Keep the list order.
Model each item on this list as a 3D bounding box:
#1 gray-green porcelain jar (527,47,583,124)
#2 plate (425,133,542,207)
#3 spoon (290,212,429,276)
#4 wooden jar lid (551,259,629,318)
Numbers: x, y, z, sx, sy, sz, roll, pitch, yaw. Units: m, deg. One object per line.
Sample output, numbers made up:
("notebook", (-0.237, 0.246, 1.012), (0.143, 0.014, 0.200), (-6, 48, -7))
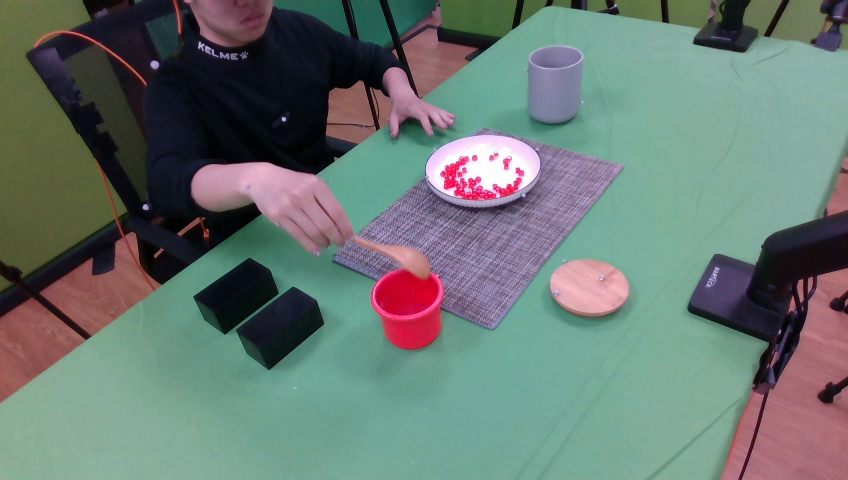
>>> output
("gray-green porcelain jar", (0.260, -0.305, 1.207), (0.106, 0.127, 0.105), (-4, 41, 4))
("plate", (0.106, -0.122, 1.079), (0.207, 0.039, 0.206), (-4, 41, 4))
("spoon", (-0.079, 0.006, 0.769), (0.195, 0.041, 0.021), (21, 68, -20))
("wooden jar lid", (0.234, 0.070, 0.857), (0.108, 0.021, 0.108), (-5, 40, 5))
